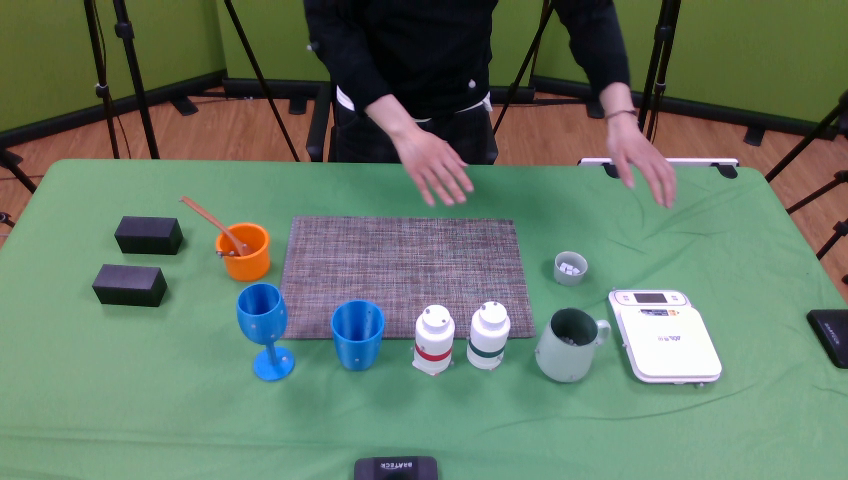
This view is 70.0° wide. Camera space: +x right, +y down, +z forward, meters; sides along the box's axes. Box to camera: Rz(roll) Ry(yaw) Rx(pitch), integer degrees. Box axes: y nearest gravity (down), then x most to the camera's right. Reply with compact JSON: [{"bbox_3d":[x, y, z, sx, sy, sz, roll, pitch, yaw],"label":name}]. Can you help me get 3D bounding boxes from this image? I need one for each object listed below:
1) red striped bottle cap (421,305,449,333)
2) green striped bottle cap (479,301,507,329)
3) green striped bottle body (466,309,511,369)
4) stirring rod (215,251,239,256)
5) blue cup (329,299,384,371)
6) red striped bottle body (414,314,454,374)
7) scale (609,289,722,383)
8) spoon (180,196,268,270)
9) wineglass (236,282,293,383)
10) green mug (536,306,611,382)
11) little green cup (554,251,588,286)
[{"bbox_3d":[0.018,0.122,0.938,0.044,0.018,0.044,2,44,-2],"label":"red striped bottle cap"},{"bbox_3d":[0.109,0.118,0.950,0.044,0.020,0.044,2,46,-2],"label":"green striped bottle cap"},{"bbox_3d":[0.105,0.154,0.987,0.063,0.120,0.063,2,46,-2],"label":"green striped bottle body"},{"bbox_3d":[-0.339,0.024,1.059,0.014,0.176,0.006,16,86,-6],"label":"stirring rod"},{"bbox_3d":[-0.109,0.160,0.979,0.093,0.101,0.092,4,46,-3],"label":"blue cup"},{"bbox_3d":[0.016,0.158,0.976,0.063,0.120,0.062,1,46,-1],"label":"red striped bottle body"},{"bbox_3d":[0.419,0.159,1.066,0.149,0.032,0.199,1,46,-4],"label":"scale"},{"bbox_3d":[-0.360,-0.014,1.094,0.021,0.194,0.041,-27,26,31],"label":"spoon"},{"bbox_3d":[-0.243,0.143,0.934,0.074,0.173,0.073,2,46,-2],"label":"wineglass"},{"bbox_3d":[0.250,0.167,0.996,0.125,0.105,0.092,-15,49,-19],"label":"green mug"},{"bbox_3d":[0.277,0.055,1.151,0.061,0.039,0.061,2,46,-2],"label":"little green cup"}]
